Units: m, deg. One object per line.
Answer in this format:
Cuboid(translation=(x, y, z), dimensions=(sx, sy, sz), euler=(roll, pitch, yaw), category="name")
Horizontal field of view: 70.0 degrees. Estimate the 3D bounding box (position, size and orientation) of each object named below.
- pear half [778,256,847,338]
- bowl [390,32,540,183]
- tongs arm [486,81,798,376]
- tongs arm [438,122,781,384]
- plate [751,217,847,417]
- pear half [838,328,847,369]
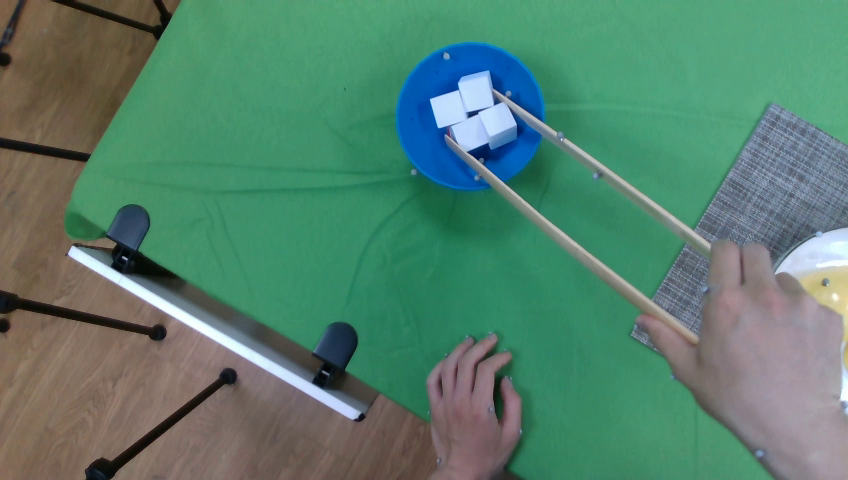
Cuboid(translation=(0.427, 0.048, 0.625), dimensions=(0.076, 0.056, 0.110), euler=(41, 86, -1), category="pear half")
Cuboid(translation=(0.042, -0.129, 0.640), dimensions=(0.151, 0.077, 0.151), euler=(0, 88, 1), category="bowl")
Cuboid(translation=(0.149, -0.038, 0.509), dimensions=(0.051, 0.027, 0.380), euler=(-40, 49, -2), category="tongs arm")
Cuboid(translation=(0.118, -0.013, 0.510), dimensions=(0.028, 0.028, 0.383), euler=(-39, 48, -5), category="tongs arm")
Cuboid(translation=(0.446, 0.079, 0.636), dimensions=(0.207, 0.039, 0.207), euler=(0, 88, 2), category="plate")
Cuboid(translation=(0.483, 0.111, 0.629), dimensions=(0.088, 0.031, 0.070), euler=(-27, 91, 7), category="pear half")
